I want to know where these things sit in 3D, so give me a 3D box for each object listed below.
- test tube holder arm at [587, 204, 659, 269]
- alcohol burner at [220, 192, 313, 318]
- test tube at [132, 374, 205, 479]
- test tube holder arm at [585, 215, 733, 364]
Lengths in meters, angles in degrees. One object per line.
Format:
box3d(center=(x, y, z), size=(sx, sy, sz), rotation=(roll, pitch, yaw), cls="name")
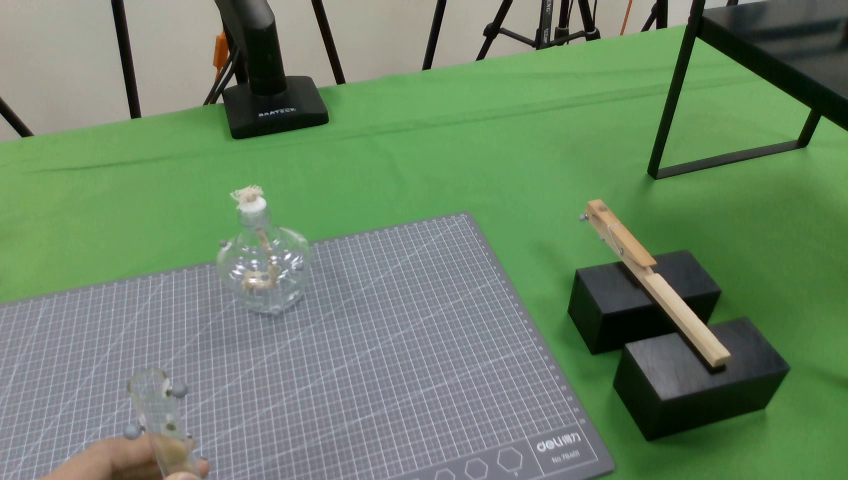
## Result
box3d(center=(0.164, -0.002, 0.504), size=(0.015, 0.010, 0.087), rotation=(-7, 40, -17), cls="test tube holder arm")
box3d(center=(-0.133, 0.008, 0.503), size=(0.078, 0.120, 0.077), rotation=(1, 42, 0), cls="alcohol burner")
box3d(center=(-0.111, 0.119, 0.286), size=(0.017, 0.151, 0.017), rotation=(1, 36, 0), cls="test tube")
box3d(center=(0.177, 0.030, 0.474), size=(0.015, 0.013, 0.176), rotation=(-7, 39, -17), cls="test tube holder arm")
